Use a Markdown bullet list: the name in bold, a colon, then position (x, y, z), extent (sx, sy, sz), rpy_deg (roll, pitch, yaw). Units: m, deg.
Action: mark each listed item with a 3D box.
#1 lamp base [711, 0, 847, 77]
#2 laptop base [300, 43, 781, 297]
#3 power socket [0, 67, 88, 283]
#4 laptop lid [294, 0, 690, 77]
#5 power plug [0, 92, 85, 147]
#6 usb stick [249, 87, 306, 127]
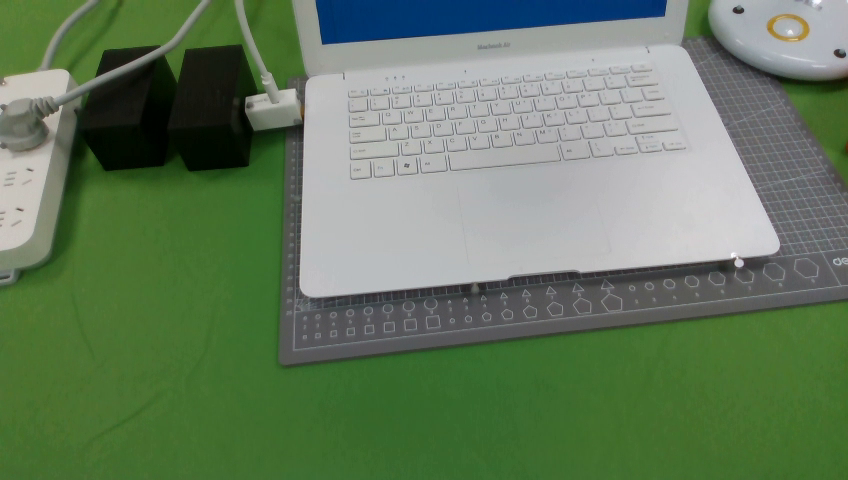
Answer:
- **lamp base**: position (0.364, -0.267, 0.529), extent (0.159, 0.182, 0.178), rpy_deg (26, 56, 20)
- **laptop base**: position (0.078, -0.068, 0.503), extent (0.354, 0.023, 0.233), rpy_deg (-5, 58, -1)
- **power socket**: position (-0.337, -0.066, 0.511), extent (0.072, 0.033, 0.224), rpy_deg (-9, 55, -5)
- **laptop lid**: position (0.060, -0.261, 0.502), extent (0.357, 0.244, 0.013), rpy_deg (-7, 34, -1)
- **power plug**: position (-0.311, -0.092, 0.499), extent (0.072, 0.053, 0.035), rpy_deg (0, 55, 2)
- **usb stick**: position (-0.121, -0.117, 0.530), extent (0.059, 0.027, 0.021), rpy_deg (-6, 57, -2)
